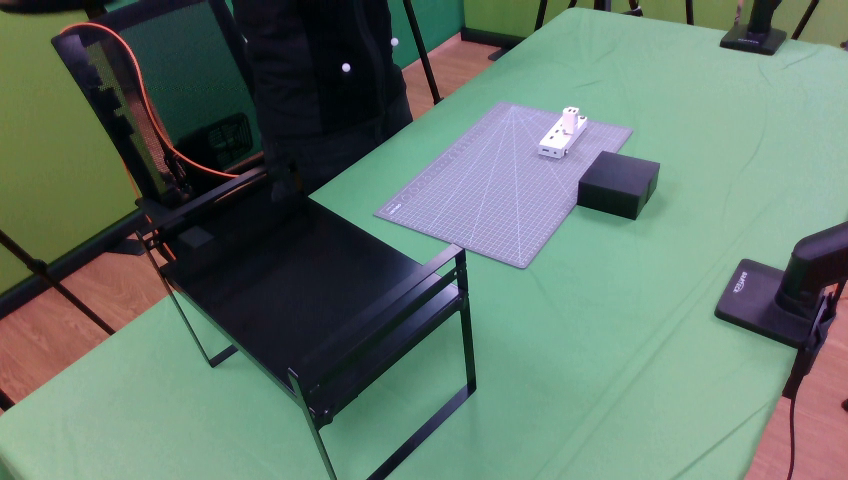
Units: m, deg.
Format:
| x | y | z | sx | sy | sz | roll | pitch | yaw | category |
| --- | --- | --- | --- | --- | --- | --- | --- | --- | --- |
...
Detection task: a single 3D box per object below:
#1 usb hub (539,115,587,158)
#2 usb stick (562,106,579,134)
| x | y | z | sx | sy | sz | roll | pitch | yaw | category |
| --- | --- | --- | --- | --- | --- | --- | --- | --- | --- |
| 0.269 | -0.203 | 1.164 | 0.049 | 0.025 | 0.125 | 19 | 48 | 27 | usb hub |
| 0.274 | -0.218 | 1.132 | 0.027 | 0.059 | 0.021 | 19 | 47 | 24 | usb stick |
